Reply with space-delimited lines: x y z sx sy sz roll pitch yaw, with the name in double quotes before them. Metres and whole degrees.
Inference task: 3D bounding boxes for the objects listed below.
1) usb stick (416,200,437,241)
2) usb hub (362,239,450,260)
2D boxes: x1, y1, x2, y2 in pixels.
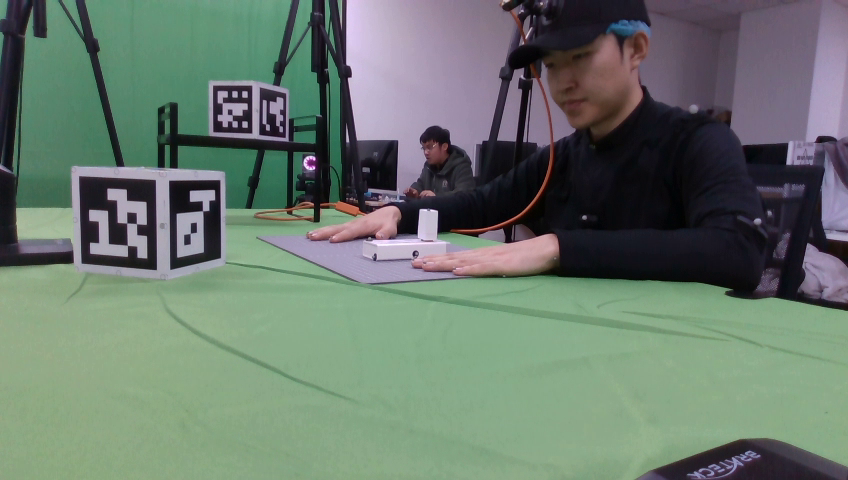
"usb stick" 0.003 -0.030 0.902 0.027 0.059 0.021 3 16 31
"usb hub" -0.026 0.013 0.894 0.126 0.025 0.049 -2 6 -31
